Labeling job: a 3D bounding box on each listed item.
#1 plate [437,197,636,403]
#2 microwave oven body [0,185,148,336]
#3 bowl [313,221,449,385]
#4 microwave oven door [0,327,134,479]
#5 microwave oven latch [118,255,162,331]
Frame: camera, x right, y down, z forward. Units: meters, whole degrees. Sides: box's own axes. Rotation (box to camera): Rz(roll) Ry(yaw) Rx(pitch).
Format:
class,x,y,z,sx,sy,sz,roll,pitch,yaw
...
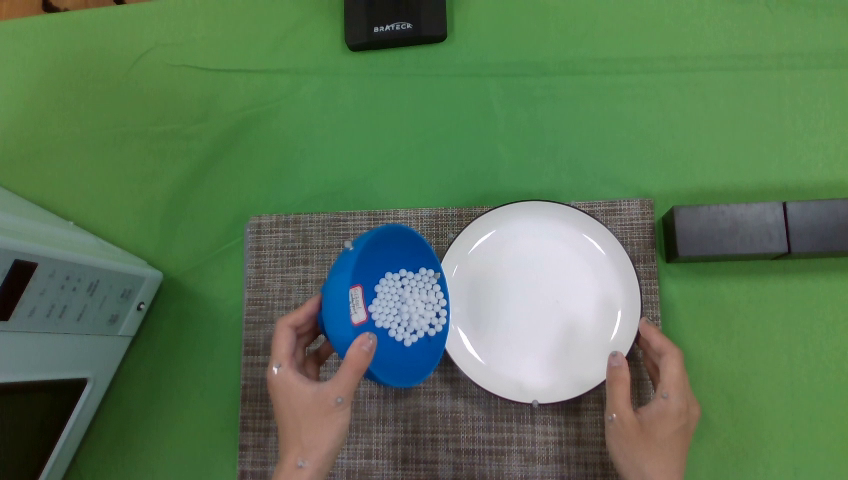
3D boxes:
class,x,y,z,sx,sy,sz,roll,pitch,yaw
plate,0.108,0.061,0.623,0.207,0.039,0.207,-1,81,8
microwave oven body,-0.545,0.144,0.593,0.325,0.261,0.441,24,86,11
bowl,-0.051,0.061,0.573,0.076,0.152,0.151,-9,78,35
microwave oven door,-0.433,0.239,0.556,0.039,0.245,0.355,24,85,13
microwave oven latch,-0.323,0.060,0.673,0.030,0.029,0.079,26,86,11
